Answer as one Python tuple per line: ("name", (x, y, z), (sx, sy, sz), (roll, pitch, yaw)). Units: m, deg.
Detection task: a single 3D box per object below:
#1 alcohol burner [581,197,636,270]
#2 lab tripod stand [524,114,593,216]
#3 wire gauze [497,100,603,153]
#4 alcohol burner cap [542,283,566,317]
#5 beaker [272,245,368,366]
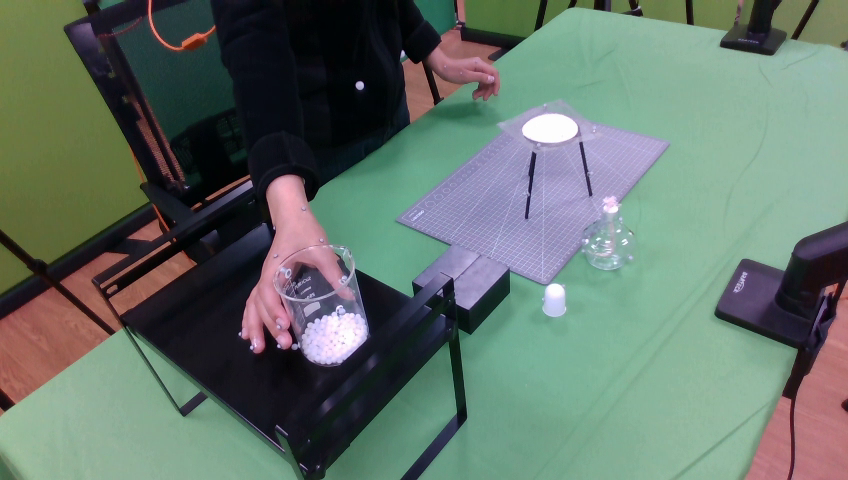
("alcohol burner", (0.270, -0.015, 0.881), (0.078, 0.119, 0.077), (-5, 42, 5))
("lab tripod stand", (0.210, -0.127, 1.001), (0.148, 0.132, 0.147), (-4, 43, 4))
("wire gauze", (0.199, -0.180, 0.961), (0.125, 0.011, 0.120), (-20, 43, -13))
("alcohol burner cap", (0.181, 0.081, 0.839), (0.034, 0.048, 0.033), (-4, 41, 4))
("beaker", (-0.093, 0.064, 0.578), (0.073, 0.101, 0.084), (21, 48, 28))
